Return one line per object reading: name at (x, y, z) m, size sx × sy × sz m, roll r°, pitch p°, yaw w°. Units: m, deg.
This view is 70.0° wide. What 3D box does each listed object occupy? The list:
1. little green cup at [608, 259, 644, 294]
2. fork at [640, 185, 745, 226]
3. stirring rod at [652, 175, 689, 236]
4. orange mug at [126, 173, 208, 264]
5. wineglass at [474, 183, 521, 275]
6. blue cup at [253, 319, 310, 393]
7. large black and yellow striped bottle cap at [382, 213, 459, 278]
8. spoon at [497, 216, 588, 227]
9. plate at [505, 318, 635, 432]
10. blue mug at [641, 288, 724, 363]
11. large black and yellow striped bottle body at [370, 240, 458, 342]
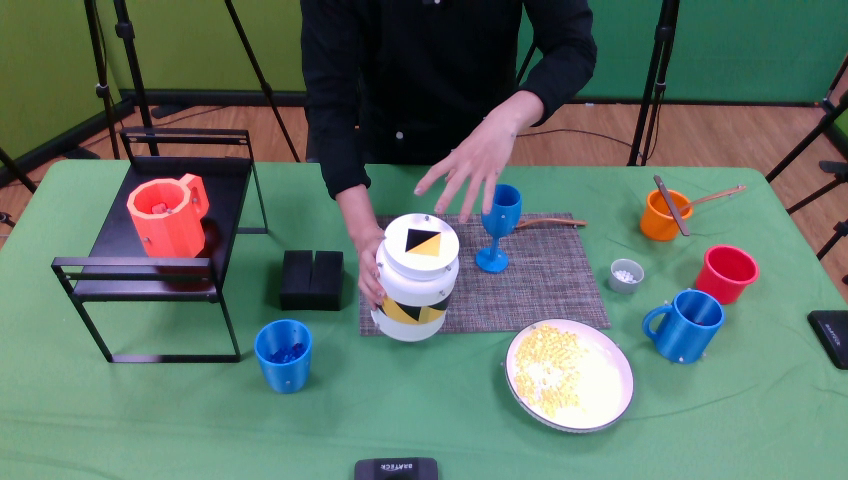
little green cup at (0.379, 0.070, 1.147) m, size 0.061 × 0.039 × 0.061 m, roll 3°, pitch 45°, yaw -2°
fork at (0.534, -0.069, 1.215) m, size 0.207 × 0.019 × 0.028 m, roll -26°, pitch 27°, yaw 33°
stirring rod at (0.491, -0.072, 1.211) m, size 0.014 × 0.006 × 0.175 m, roll 0°, pitch 47°, yaw -6°
orange mug at (-0.371, -0.040, 0.902) m, size 0.083 × 0.101 × 0.126 m, roll 18°, pitch 52°, yaw 13°
wineglass at (0.134, -0.020, 1.115) m, size 0.074 × 0.173 × 0.073 m, roll 2°, pitch 46°, yaw -2°
blue cup at (-0.217, 0.187, 0.943) m, size 0.093 × 0.101 × 0.092 m, roll 3°, pitch 46°, yaw -3°
large black and yellow striped bottle cap at (-0.005, 0.006, 0.905) m, size 0.115 × 0.019 × 0.114 m, roll 6°, pitch 49°, yaw -6°
spoon at (0.245, -0.039, 1.247) m, size 0.194 × 0.022 × 0.041 m, roll -1°, pitch 25°, yaw -6°
plate at (0.235, 0.221, 0.991) m, size 0.209 × 0.038 × 0.208 m, roll 2°, pitch 46°, yaw -2°
blue mug at (0.432, 0.144, 1.033) m, size 0.116 × 0.106 × 0.082 m, roll 8°, pitch 46°, yaw 5°
large black and yellow striped bottle body at (-0.017, 0.063, 0.966) m, size 0.131 × 0.185 × 0.130 m, roll 5°, pitch 48°, yaw -6°
